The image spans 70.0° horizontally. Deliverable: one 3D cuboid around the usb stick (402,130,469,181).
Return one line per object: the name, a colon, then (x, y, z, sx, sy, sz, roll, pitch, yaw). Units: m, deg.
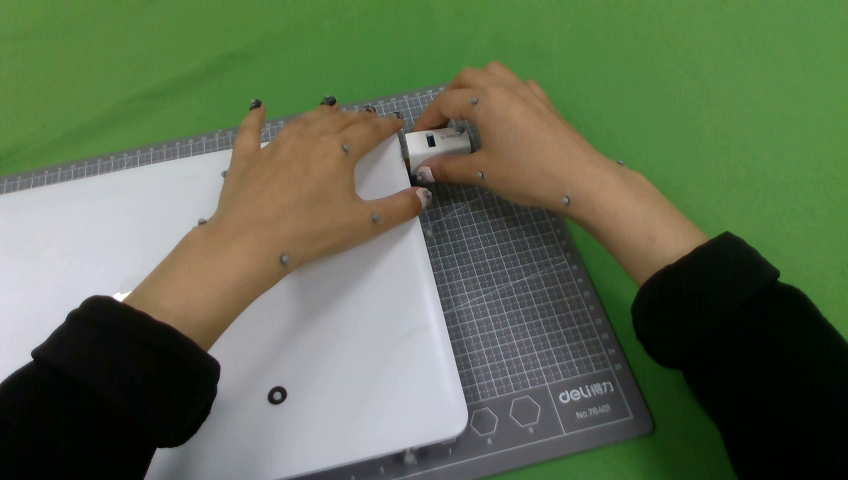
usb stick: (0.001, -0.059, 0.430, 0.059, 0.027, 0.021, -12, 62, -1)

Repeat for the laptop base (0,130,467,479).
laptop base: (-0.170, 0.053, 0.384, 0.355, 0.023, 0.233, -12, 61, -4)

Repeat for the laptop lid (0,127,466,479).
laptop lid: (-0.170, 0.048, 0.373, 0.357, 0.013, 0.239, -11, 60, -4)
